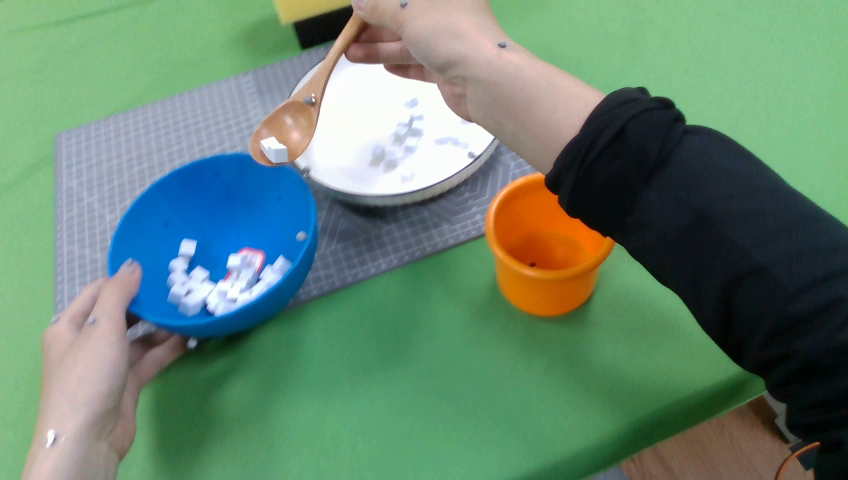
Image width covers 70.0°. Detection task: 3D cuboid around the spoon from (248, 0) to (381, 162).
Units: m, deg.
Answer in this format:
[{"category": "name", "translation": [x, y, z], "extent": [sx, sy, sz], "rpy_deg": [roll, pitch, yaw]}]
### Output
[{"category": "spoon", "translation": [-0.060, -0.135, 0.428], "extent": [0.041, 0.022, 0.194], "rpy_deg": [37, 95, 18]}]

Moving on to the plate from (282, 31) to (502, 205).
[{"category": "plate", "translation": [-0.032, -0.113, 0.565], "extent": [0.209, 0.038, 0.207], "rpy_deg": [-3, 57, 5]}]

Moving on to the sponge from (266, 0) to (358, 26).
[{"category": "sponge", "translation": [-0.075, -0.309, 0.629], "extent": [0.207, 0.061, 0.117], "rpy_deg": [-19, 57, -6]}]

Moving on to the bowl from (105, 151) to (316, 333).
[{"category": "bowl", "translation": [-0.149, 0.013, 0.465], "extent": [0.151, 0.077, 0.150], "rpy_deg": [-3, 56, 5]}]
